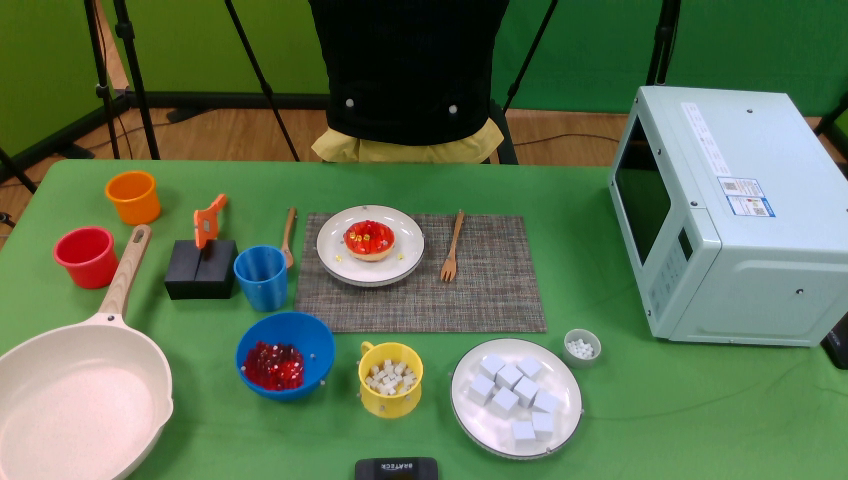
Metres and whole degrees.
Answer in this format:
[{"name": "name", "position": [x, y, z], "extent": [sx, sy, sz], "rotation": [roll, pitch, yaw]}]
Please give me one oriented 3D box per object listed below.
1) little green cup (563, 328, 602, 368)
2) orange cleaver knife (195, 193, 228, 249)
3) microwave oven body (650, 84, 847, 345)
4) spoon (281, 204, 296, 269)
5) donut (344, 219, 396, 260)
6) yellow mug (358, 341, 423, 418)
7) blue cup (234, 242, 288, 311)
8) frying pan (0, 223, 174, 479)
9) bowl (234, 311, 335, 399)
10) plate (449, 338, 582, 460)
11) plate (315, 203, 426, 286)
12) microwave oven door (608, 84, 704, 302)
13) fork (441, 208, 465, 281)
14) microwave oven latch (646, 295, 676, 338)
[{"name": "little green cup", "position": [0.266, 0.185, 1.025], "extent": [0.061, 0.039, 0.061], "rotation": [1, 45, -1]}, {"name": "orange cleaver knife", "position": [-0.406, -0.041, 1.163], "extent": [0.012, 0.077, 0.210], "rotation": [-1, 18, -3]}, {"name": "microwave oven body", "position": [0.569, -0.054, 1.116], "extent": [0.326, 0.261, 0.439], "rotation": [2, 46, -1]}, {"name": "spoon", "position": [-0.266, -0.007, 1.182], "extent": [0.041, 0.022, 0.192], "rotation": [-14, 46, 11]}, {"name": "donut", "position": [-0.103, -0.002, 1.158], "extent": [0.099, 0.048, 0.098], "rotation": [2, 43, -2]}, {"name": "yellow mug", "position": [-0.063, 0.210, 0.961], "extent": [0.100, 0.064, 0.130], "rotation": [-29, 54, -28]}, {"name": "blue cup", "position": [-0.276, 0.071, 1.052], "extent": [0.092, 0.101, 0.092], "rotation": [1, 48, -1]}, {"name": "frying pan", "position": [-0.505, 0.169, 0.941], "extent": [0.307, 0.103, 0.485], "rotation": [5, 54, -1]}, {"name": "bowl", "position": [-0.214, 0.194, 0.956], "extent": [0.151, 0.077, 0.150], "rotation": [2, 46, -2]}, {"name": "plate", "position": [0.141, 0.251, 0.955], "extent": [0.208, 0.039, 0.206], "rotation": [2, 46, -2]}, {"name": "plate", "position": [-0.101, 0.012, 1.159], "extent": [0.209, 0.038, 0.208], "rotation": [2, 46, -2]}, {"name": "microwave oven door", "position": [0.424, -0.096, 1.138], "extent": [0.039, 0.245, 0.353], "rotation": [2, 46, -1]}, {"name": "fork", "position": [0.061, 0.005, 1.190], "extent": [0.028, 0.019, 0.206], "rotation": [3, 47, 13]}, {"name": "microwave oven latch", "position": [0.413, 0.133, 1.060], "extent": [0.030, 0.029, 0.078], "rotation": [4, 46, 1]}]
